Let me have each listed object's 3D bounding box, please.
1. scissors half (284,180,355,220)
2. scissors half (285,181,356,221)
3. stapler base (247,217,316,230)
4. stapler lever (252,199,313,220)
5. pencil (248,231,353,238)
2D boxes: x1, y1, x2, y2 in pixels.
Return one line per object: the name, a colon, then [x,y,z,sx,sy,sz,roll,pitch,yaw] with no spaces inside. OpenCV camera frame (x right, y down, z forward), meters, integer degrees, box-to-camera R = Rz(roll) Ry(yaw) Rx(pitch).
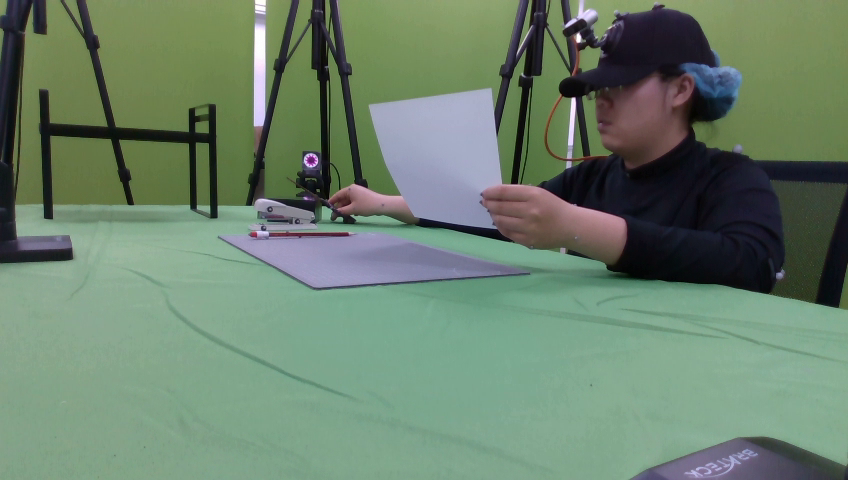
scissors half: [-0.228,-0.090,1.318,0.175,0.013,0.040,28,-9,1]
scissors half: [-0.230,-0.087,1.336,0.175,0.013,0.040,30,-15,-6]
stapler base: [-0.276,-0.033,1.172,0.131,0.024,0.041,0,10,-37]
stapler lever: [-0.273,-0.058,1.170,0.119,0.040,0.026,0,10,-37]
pencil: [-0.206,-0.009,1.039,0.195,0.012,0.012,0,8,-36]
